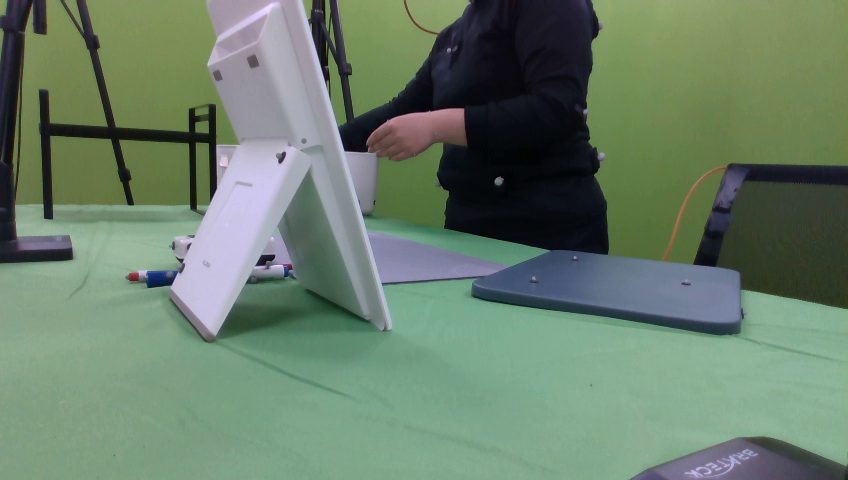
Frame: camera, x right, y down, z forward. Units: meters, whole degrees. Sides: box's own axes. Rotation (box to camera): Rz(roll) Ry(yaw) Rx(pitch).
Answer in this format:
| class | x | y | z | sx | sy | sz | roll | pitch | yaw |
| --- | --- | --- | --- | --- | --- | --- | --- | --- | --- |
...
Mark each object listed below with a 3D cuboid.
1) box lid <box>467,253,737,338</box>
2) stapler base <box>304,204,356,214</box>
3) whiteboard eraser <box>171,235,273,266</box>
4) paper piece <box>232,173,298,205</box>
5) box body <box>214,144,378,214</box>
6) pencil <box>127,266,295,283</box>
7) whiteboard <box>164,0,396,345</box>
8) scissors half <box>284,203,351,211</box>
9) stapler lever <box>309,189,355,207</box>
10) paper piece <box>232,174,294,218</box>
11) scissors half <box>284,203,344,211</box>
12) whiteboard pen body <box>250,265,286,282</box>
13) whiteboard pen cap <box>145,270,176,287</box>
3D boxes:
| class | x | y | z | sx | sy | sz | roll | pitch | yaw |
| --- | --- | --- | --- | --- | --- | --- | --- | --- | --- |
| box lid | 0.234 | 0.054 | 0.736 | 0.262 | 0.015 | 0.373 | 7 | 8 | 26 |
| stapler base | -0.233 | -0.078 | 1.510 | 0.131 | 0.024 | 0.041 | 1 | 9 | -35 |
| whiteboard eraser | -0.248 | 0.014 | 0.747 | 0.113 | 0.042 | 0.055 | -1 | 9 | -32 |
| paper piece | -0.389 | -0.127 | 1.479 | 0.136 | 0.004 | 0.135 | 1 | 38 | -29 |
| box body | -0.328 | -0.154 | 1.543 | 0.366 | 0.160 | 0.253 | -2 | 9 | -32 |
| pencil | -0.231 | 0.037 | 0.691 | 0.195 | 0.012 | 0.012 | -2 | 9 | -34 |
| whiteboard | -0.173 | -0.053 | 0.511 | 0.144 | 0.305 | 0.216 | -23 | 19 | -26 |
| scissors half | -0.269 | -0.081 | 1.535 | 0.176 | 0.013 | 0.040 | -6 | 11 | -23 |
| stapler lever | -0.230 | -0.104 | 1.508 | 0.119 | 0.040 | 0.026 | 2 | 9 | -35 |
| paper piece | -0.399 | -0.112 | 1.489 | 0.139 | 0.135 | 0.008 | -3 | -33 | -22 |
| scissors half | -0.280 | -0.083 | 1.552 | 0.040 | 0.013 | 0.176 | 2 | 8 | 45 |
| whiteboard pen body | -0.220 | 0.039 | 0.656 | 0.141 | 0.017 | 0.017 | -2 | 9 | -30 |
| whiteboard pen cap | -0.271 | 0.039 | 0.627 | 0.033 | 0.018 | 0.018 | -3 | 10 | -33 |
